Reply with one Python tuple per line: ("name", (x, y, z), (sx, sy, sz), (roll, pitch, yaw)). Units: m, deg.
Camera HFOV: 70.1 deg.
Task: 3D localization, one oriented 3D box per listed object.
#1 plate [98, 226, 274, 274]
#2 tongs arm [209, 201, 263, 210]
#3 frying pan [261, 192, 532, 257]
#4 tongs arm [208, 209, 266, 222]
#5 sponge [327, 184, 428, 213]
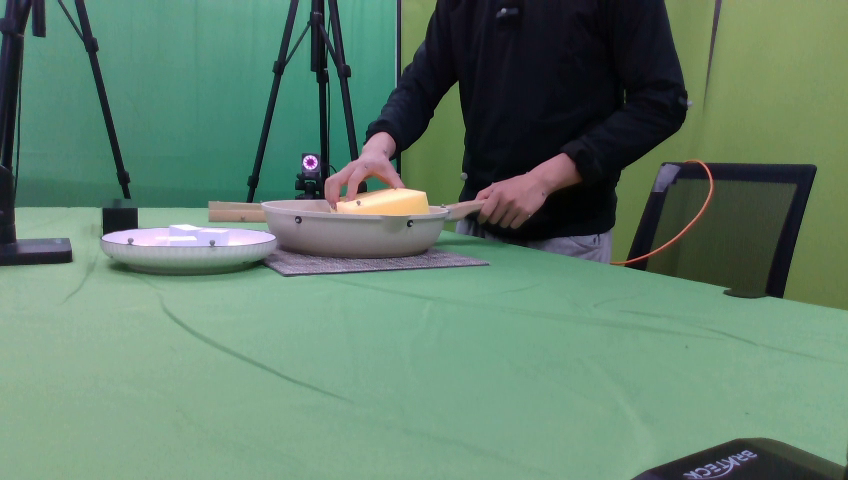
("plate", (-0.301, 0.012, 0.778), (0.208, 0.039, 0.207), (3, 7, 0))
("tongs arm", (-0.306, -0.071, 1.430), (0.386, 0.026, 0.050), (1, 8, -16))
("frying pan", (-0.017, -0.043, 1.006), (0.490, 0.102, 0.305), (-11, 13, -26))
("tongs arm", (-0.280, -0.057, 1.355), (0.389, 0.028, 0.028), (-2, 6, -28))
("sponge", (-0.078, -0.044, 0.969), (0.118, 0.061, 0.206), (-14, 12, -16))
